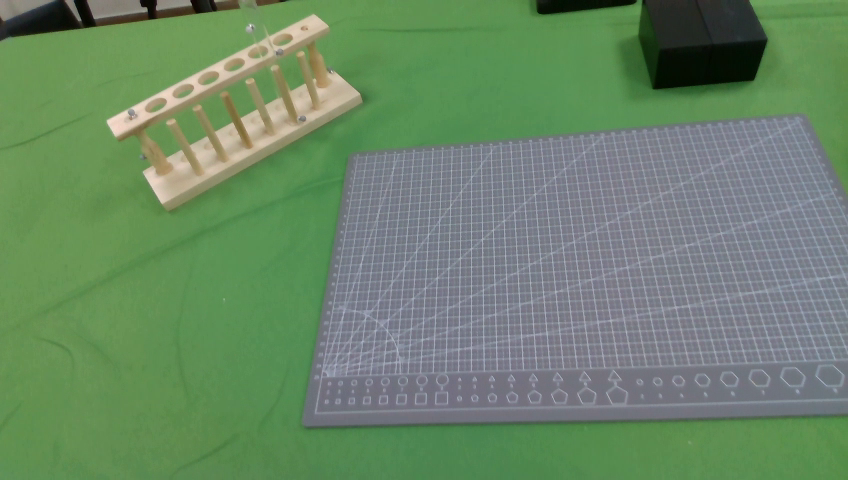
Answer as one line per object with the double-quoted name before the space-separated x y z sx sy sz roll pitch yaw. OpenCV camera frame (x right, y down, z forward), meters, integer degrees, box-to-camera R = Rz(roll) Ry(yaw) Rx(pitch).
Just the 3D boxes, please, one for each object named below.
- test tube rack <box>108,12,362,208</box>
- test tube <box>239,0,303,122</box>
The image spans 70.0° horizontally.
"test tube rack" -0.193 -0.142 0.648 0.242 0.086 0.066 -33 54 -15
"test tube" -0.153 -0.182 0.614 0.017 0.152 0.017 -6 49 7
